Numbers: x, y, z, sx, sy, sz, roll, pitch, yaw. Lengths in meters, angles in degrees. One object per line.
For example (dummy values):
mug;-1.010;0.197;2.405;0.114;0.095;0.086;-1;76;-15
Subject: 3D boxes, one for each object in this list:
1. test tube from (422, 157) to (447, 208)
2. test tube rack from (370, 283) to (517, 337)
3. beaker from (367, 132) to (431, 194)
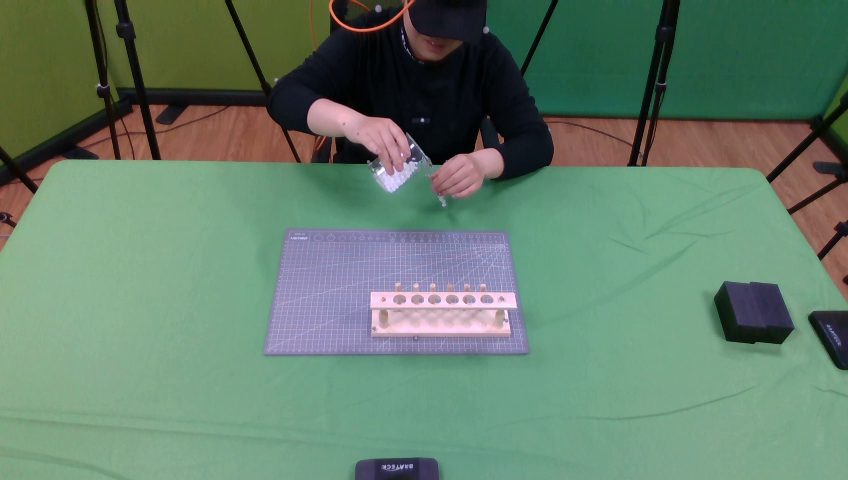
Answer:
test tube;0.023;-0.111;1.203;0.017;0.151;0.017;-8;55;13
test tube rack;0.030;0.116;1.041;0.242;0.085;0.066;1;46;-4
beaker;-0.047;-0.138;1.117;0.100;0.084;0.073;-39;57;7
